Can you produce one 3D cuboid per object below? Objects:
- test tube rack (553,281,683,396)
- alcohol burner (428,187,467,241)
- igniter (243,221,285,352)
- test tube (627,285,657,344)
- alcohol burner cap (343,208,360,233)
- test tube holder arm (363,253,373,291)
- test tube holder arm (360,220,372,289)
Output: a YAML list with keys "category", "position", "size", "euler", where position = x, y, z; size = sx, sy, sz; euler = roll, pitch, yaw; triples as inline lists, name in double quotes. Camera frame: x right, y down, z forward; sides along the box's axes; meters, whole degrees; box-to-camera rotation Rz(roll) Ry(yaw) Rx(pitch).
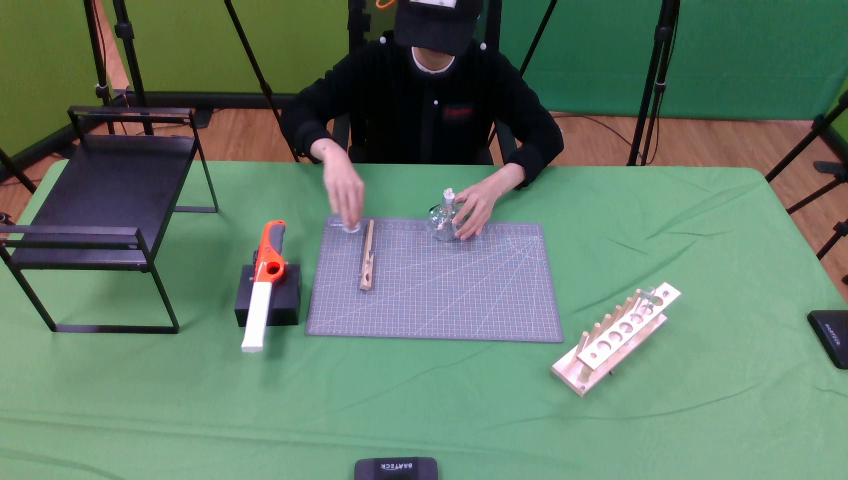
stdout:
- category: "test tube rack"
  position: [0.329, 0.153, 1.023]
  size: [0.242, 0.085, 0.066]
  euler: [-30, 54, -28]
- category: "alcohol burner"
  position: [0.047, -0.056, 1.184]
  size: [0.078, 0.119, 0.077]
  euler: [3, 44, -2]
- category: "igniter"
  position: [-0.273, 0.069, 1.041]
  size: [0.057, 0.025, 0.274]
  euler: [2, 48, -5]
- category: "test tube"
  position: [0.350, 0.124, 0.983]
  size: [0.017, 0.151, 0.017]
  euler: [0, 49, 0]
- category: "alcohol burner cap"
  position: [-0.141, -0.040, 1.180]
  size: [0.034, 0.048, 0.033]
  euler: [3, 43, -3]
- category: "test tube holder arm"
  position: [-0.104, 0.058, 1.132]
  size: [0.010, 0.015, 0.087]
  euler: [29, 37, -27]
- category: "test tube holder arm"
  position: [-0.110, 0.024, 1.161]
  size: [0.013, 0.015, 0.177]
  euler: [28, 38, -27]
